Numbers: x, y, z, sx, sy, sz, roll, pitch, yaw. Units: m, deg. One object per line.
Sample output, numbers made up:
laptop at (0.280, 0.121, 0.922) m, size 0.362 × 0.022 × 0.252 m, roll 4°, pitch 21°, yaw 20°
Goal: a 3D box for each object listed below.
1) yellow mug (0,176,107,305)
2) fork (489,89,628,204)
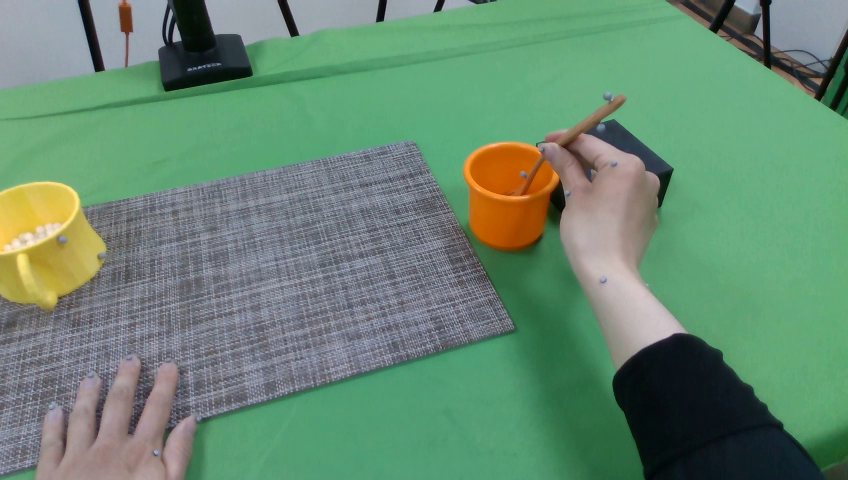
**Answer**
yellow mug at (-0.355, 0.005, 0.557) m, size 0.100 × 0.064 × 0.129 m, roll -18°, pitch 48°, yaw -17°
fork at (0.109, -0.075, 0.534) m, size 0.018 × 0.207 × 0.028 m, roll 34°, pitch 63°, yaw -5°
